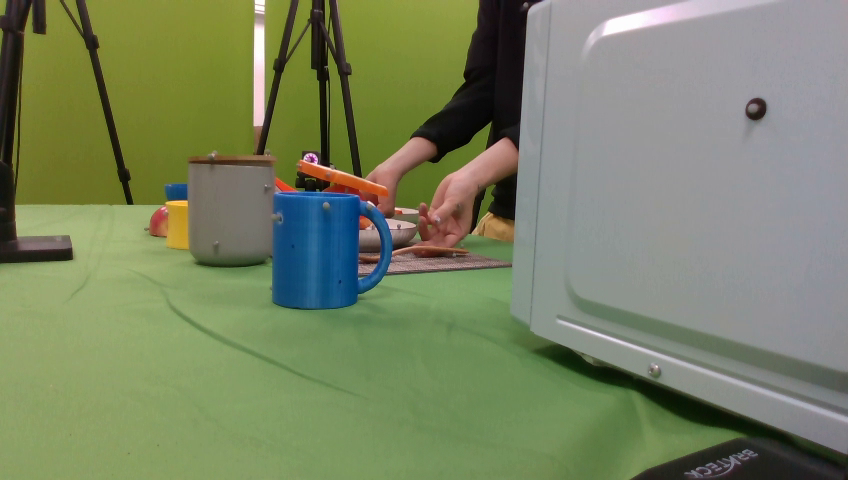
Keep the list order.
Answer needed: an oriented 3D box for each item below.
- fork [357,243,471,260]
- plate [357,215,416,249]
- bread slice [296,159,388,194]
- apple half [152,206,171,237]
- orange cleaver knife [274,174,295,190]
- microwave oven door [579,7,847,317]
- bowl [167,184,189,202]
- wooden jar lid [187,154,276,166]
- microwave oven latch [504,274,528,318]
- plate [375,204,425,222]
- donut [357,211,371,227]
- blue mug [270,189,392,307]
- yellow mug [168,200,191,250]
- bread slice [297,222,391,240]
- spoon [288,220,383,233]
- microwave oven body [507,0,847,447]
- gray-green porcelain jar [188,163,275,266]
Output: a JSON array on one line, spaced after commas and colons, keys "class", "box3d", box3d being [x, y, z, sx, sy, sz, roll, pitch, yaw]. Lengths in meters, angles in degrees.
[{"class": "fork", "box3d": [-0.016, 0.014, 0.845, 0.208, 0.018, 0.028, -6, 6, -35]}, {"class": "plate", "box3d": [-0.116, -0.014, 0.967, 0.208, 0.039, 0.207, 2, 7, 0]}, {"class": "bread slice", "box3d": [-0.132, -0.102, 0.952, 0.132, 0.019, 0.104, 13, 6, -36]}, {"class": "apple half", "box3d": [-0.415, -0.034, 1.017, 0.081, 0.053, 0.074, 1, 10, -8]}, {"class": "orange cleaver knife", "box3d": [-0.283, -0.087, 1.343, 0.212, 0.077, 0.012, 24, -16, -41]}, {"class": "microwave oven door", "box3d": [0.294, -0.067, 0.570, 0.358, 0.243, 0.039, -3, 9, -31]}, {"class": "bowl", "box3d": [-0.408, -0.064, 1.154, 0.151, 0.077, 0.151, 2, 8, 0]}, {"class": "wooden jar lid", "box3d": [-0.244, -0.097, 0.771, 0.108, 0.020, 0.108, -1, 7, 0]}, {"class": "microwave oven latch", "box3d": [0.100, 0.041, 0.471, 0.079, 0.029, 0.030, -1, 8, -28]}, {"class": "plate", "box3d": [-0.102, -0.053, 1.299, 0.209, 0.038, 0.209, 2, 8, 0]}, {"class": "donut", "box3d": [-0.129, -0.042, 0.956, 0.099, 0.048, 0.099, 2, 7, 0]}, {"class": "blue mug", "box3d": [-0.090, 0.005, 0.588, 0.117, 0.106, 0.082, 1, 7, -11]}, {"class": "yellow mug", "box3d": [-0.320, -0.023, 0.904, 0.130, 0.064, 0.100, 8, 10, 36]}, {"class": "bread slice", "box3d": [-0.121, -0.015, 0.970, 0.106, 0.018, 0.135, 10, 8, 40]}, {"class": "spoon", "box3d": [-0.158, -0.029, 1.112, 0.195, 0.021, 0.041, -7, -10, -37]}, {"class": "microwave oven body", "box3d": [0.331, -0.042, 0.425, 0.444, 0.260, 0.324, -2, 8, -31]}, {"class": "gray-green porcelain jar", "box3d": [-0.246, -0.034, 0.780, 0.106, 0.126, 0.106, 1, 7, 0]}]
